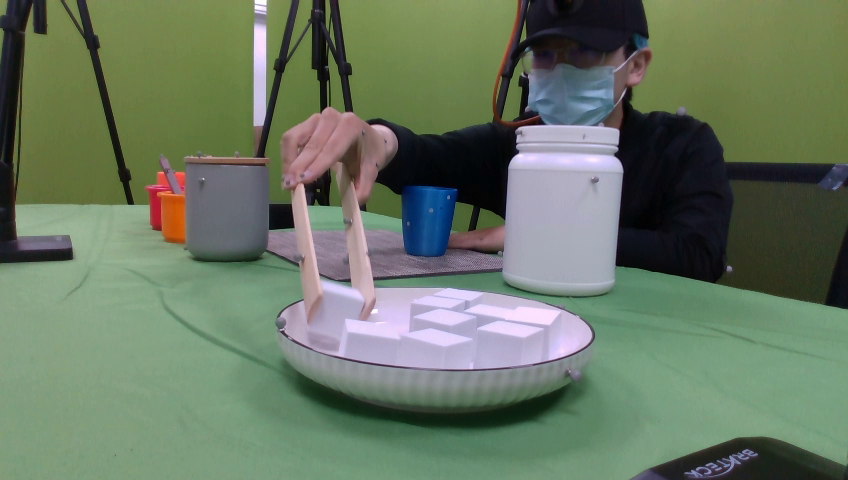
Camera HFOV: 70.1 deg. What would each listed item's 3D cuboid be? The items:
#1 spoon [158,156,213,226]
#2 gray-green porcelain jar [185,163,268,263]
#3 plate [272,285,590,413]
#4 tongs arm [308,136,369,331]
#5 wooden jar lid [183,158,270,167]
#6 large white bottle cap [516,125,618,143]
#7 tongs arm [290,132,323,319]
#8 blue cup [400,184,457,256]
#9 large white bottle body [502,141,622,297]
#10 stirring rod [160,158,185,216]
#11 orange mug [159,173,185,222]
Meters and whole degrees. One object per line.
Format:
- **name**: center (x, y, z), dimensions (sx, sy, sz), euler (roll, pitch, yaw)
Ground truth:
- **spoon**: center (-0.435, -0.094, 1.121), dimensions (0.041, 0.022, 0.193), euler (5, 51, 13)
- **gray-green porcelain jar**: center (-0.263, -0.038, 0.808), dimensions (0.106, 0.126, 0.106), euler (3, 8, 0)
- **plate**: center (0.004, 0.069, 0.407), dimensions (0.208, 0.039, 0.207), euler (2, 7, 0)
- **tongs arm**: center (-0.089, -0.032, 0.569), dimensions (0.051, 0.026, 0.383), euler (22, 18, -17)
- **wooden jar lid**: center (-0.260, -0.099, 0.800), dimensions (0.108, 0.020, 0.108), euler (0, 9, 0)
- **large white bottle cap**: center (0.163, -0.120, 0.694), dimensions (0.115, 0.018, 0.115), euler (2, 8, 0)
- **tongs arm**: center (-0.108, -0.039, 0.561), dimensions (0.028, 0.027, 0.386), euler (17, 20, -20)
- **blue cup**: center (0.003, -0.030, 0.900), dimensions (0.093, 0.100, 0.092), euler (4, 9, 0)
- **large white bottle body**: center (0.160, -0.036, 0.706), dimensions (0.131, 0.184, 0.130), euler (2, 7, 0)
- **stirring rod**: center (-0.392, -0.070, 0.971), dimensions (0.014, 0.006, 0.175), euler (-2, 50, -48)
- **orange mug**: center (-0.478, -0.089, 1.241), dimensions (0.127, 0.101, 0.083), euler (-7, 11, -33)
